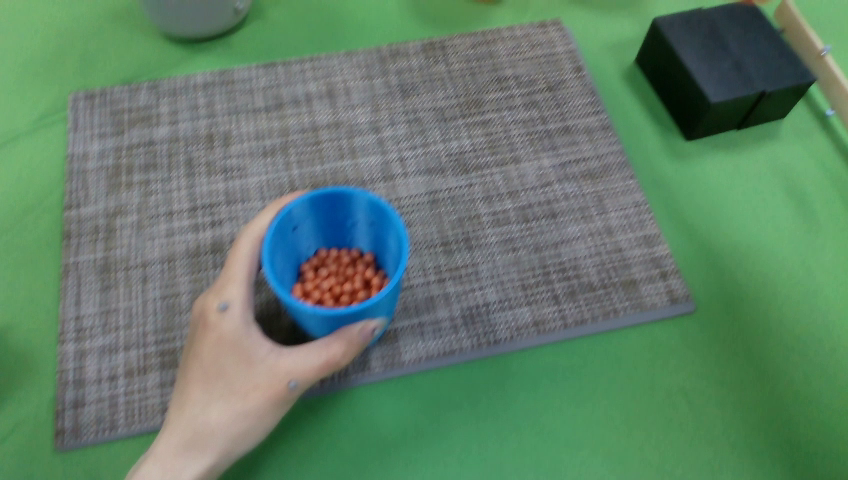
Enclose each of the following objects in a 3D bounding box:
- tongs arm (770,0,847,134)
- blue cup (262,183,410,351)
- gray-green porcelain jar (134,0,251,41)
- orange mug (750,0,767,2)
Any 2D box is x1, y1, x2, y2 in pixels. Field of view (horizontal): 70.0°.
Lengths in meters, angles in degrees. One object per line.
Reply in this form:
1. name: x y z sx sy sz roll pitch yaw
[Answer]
1. tongs arm: 0.401 -0.060 0.501 0.051 0.027 0.381 -8 64 -11
2. blue cup: -0.053 0.027 0.392 0.093 0.101 0.092 2 60 -3
3. gray-green porcelain jar: -0.211 -0.249 0.524 0.106 0.127 0.105 1 62 -1
4. orange mug: 0.205 -0.183 0.301 0.126 0.101 0.083 5 79 1
